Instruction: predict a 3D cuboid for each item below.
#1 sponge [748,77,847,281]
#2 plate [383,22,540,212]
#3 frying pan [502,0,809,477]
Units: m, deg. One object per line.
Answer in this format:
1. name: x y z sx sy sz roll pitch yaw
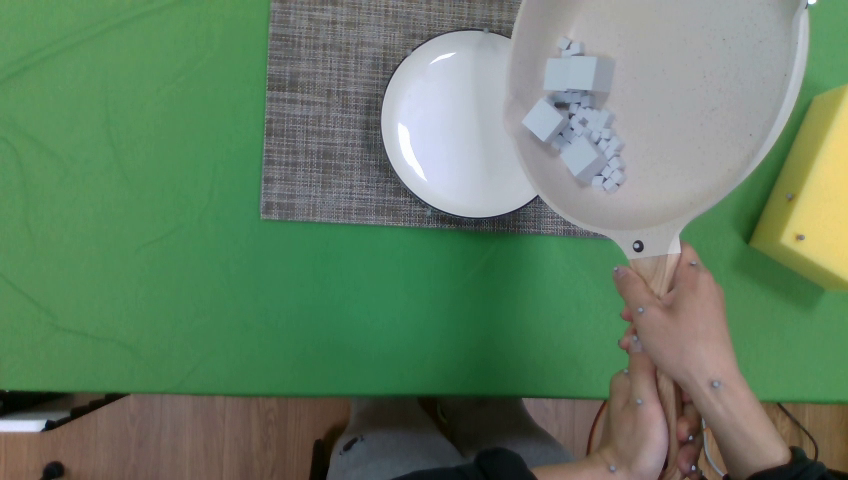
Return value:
1. sponge: 0.487 -0.069 0.710 0.118 0.061 0.206 27 86 -5
2. plate: 0.058 -0.132 0.668 0.208 0.039 0.207 0 88 -7
3. frying pan: 0.188 -0.053 0.514 0.103 0.305 0.486 5 81 -31
